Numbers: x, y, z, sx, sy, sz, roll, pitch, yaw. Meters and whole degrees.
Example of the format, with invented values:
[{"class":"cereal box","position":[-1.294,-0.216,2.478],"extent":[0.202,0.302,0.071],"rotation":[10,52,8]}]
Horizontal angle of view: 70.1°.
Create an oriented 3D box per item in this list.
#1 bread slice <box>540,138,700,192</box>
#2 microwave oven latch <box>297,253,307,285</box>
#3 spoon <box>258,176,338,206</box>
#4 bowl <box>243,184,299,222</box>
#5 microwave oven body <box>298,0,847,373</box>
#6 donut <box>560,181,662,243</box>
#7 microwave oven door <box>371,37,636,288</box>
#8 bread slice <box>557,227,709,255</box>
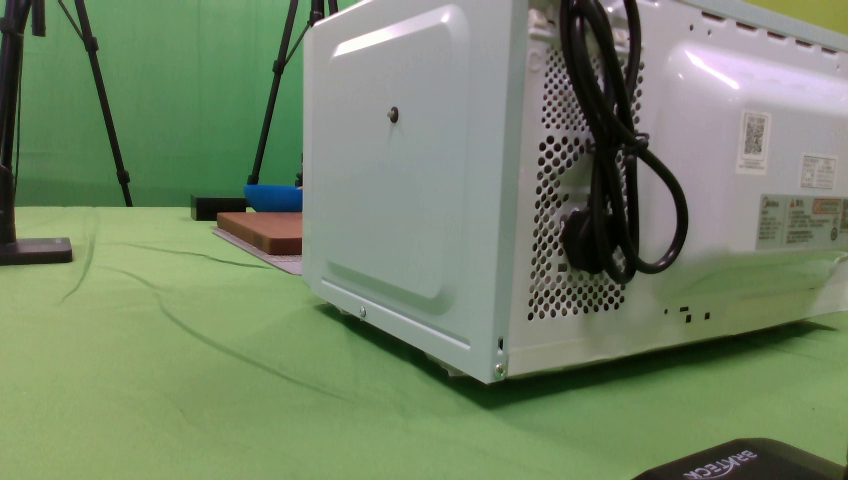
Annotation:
[{"class":"bread slice","position":[0.196,-0.074,0.589],"extent":[0.107,0.018,0.133],"rotation":[-2,21,-39]},{"class":"microwave oven latch","position":[-0.082,0.027,0.583],"extent":[0.079,0.029,0.030],"rotation":[-1,8,-33]},{"class":"spoon","position":[-0.279,-0.112,1.356],"extent":[0.194,0.021,0.041],"rotation":[-28,19,-27]},{"class":"bowl","position":[-0.321,-0.081,1.333],"extent":[0.151,0.077,0.151],"rotation":[3,7,0]},{"class":"microwave oven body","position":[0.151,-0.055,0.543],"extent":[0.444,0.260,0.324],"rotation":[-1,7,-33]},{"class":"donut","position":[0.186,-0.029,0.605],"extent":[0.099,0.048,0.099],"rotation":[11,-9,2]},{"class":"microwave oven door","position":[0.109,-0.080,0.686],"extent":[0.358,0.243,0.039],"rotation":[-2,9,-33]},{"class":"bread slice","position":[0.205,-0.001,0.581],"extent":[0.105,0.019,0.131],"rotation":[4,1,-15]}]
